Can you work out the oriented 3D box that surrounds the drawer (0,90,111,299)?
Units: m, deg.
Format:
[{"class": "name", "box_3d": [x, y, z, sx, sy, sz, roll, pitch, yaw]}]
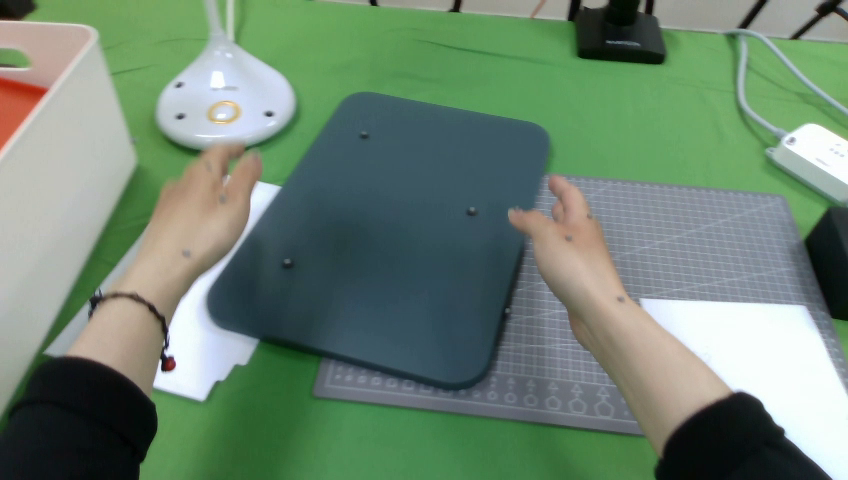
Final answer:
[{"class": "drawer", "box_3d": [-0.417, -0.059, 0.533, 0.195, 0.074, 0.209, 12, 39, -10]}]

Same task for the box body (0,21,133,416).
[{"class": "box body", "box_3d": [-0.436, -0.019, 0.500, 0.254, 0.162, 0.360, 2, 49, 0]}]

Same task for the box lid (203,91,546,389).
[{"class": "box lid", "box_3d": [-0.029, -0.030, 0.625, 0.262, 0.015, 0.369, 13, 49, 10]}]

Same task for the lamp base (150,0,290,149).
[{"class": "lamp base", "box_3d": [-0.244, -0.222, 0.674, 0.161, 0.182, 0.177, -13, 48, -13]}]

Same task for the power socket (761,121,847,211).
[{"class": "power socket", "box_3d": [0.480, -0.056, 0.651, 0.072, 0.033, 0.224, -27, 54, -24]}]

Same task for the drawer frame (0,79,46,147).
[{"class": "drawer frame", "box_3d": [-0.418, -0.062, 0.534, 0.202, 0.083, 0.211, 11, 39, -10]}]
